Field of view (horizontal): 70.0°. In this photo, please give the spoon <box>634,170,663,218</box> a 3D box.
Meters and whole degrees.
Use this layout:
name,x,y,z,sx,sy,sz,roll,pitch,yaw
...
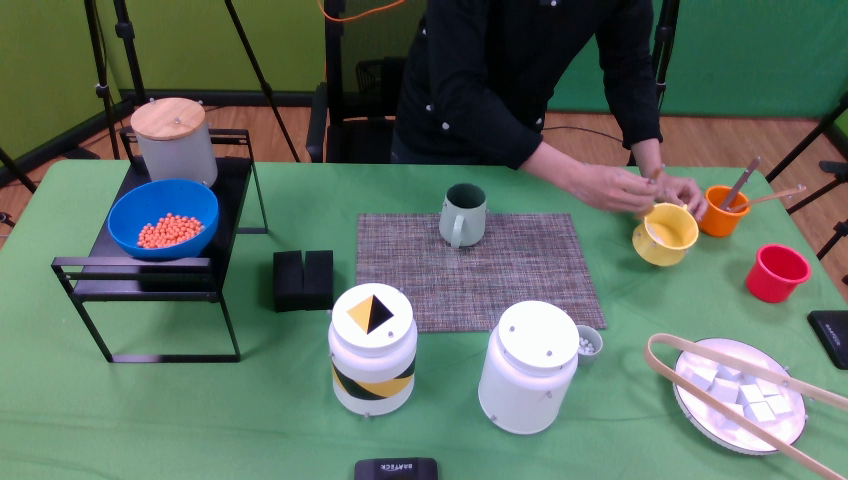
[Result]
name,x,y,z,sx,sy,sz,roll,pitch,yaw
spoon,0.384,-0.076,1.032,0.041,0.195,0.021,-24,65,4

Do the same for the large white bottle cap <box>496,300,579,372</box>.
name,x,y,z,sx,sy,sz,roll,pitch,yaw
large white bottle cap,0.160,0.133,0.852,0.115,0.018,0.114,3,46,-3

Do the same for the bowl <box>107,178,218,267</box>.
name,x,y,z,sx,sy,sz,roll,pitch,yaw
bowl,-0.374,-0.014,0.893,0.151,0.077,0.150,2,46,-2

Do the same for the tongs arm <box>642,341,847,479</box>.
name,x,y,z,sx,sy,sz,roll,pitch,yaw
tongs arm,0.504,0.278,0.918,0.386,0.028,0.028,34,59,22

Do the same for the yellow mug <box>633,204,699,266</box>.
name,x,y,z,sx,sy,sz,roll,pitch,yaw
yellow mug,0.463,-0.020,1.147,0.099,0.064,0.130,35,63,18

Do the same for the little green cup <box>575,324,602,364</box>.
name,x,y,z,sx,sy,sz,roll,pitch,yaw
little green cup,0.269,0.179,1.036,0.061,0.039,0.061,3,46,-3

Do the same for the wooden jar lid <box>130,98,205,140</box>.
name,x,y,z,sx,sy,sz,roll,pitch,yaw
wooden jar lid,-0.393,-0.183,0.934,0.108,0.021,0.107,2,43,-2

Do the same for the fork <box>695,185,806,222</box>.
name,x,y,z,sx,sy,sz,roll,pitch,yaw
fork,0.658,-0.074,1.230,0.207,0.019,0.028,-23,36,37

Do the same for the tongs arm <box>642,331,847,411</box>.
name,x,y,z,sx,sy,sz,roll,pitch,yaw
tongs arm,0.546,0.227,0.968,0.384,0.026,0.050,22,52,13

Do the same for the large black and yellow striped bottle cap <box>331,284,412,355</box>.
name,x,y,z,sx,sy,sz,roll,pitch,yaw
large black and yellow striped bottle cap,-0.073,0.110,0.857,0.115,0.019,0.114,2,46,-2

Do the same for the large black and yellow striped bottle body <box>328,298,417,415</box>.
name,x,y,z,sx,sy,sz,roll,pitch,yaw
large black and yellow striped bottle body,-0.078,0.167,0.920,0.131,0.185,0.130,2,46,-2

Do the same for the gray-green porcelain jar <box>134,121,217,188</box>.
name,x,y,z,sx,sy,sz,roll,pitch,yaw
gray-green porcelain jar,-0.397,-0.141,0.980,0.106,0.127,0.105,2,47,-2

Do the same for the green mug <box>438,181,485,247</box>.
name,x,y,z,sx,sy,sz,roll,pitch,yaw
green mug,0.071,-0.039,1.177,0.092,0.105,0.124,12,47,7

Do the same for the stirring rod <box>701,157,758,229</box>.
name,x,y,z,sx,sy,sz,roll,pitch,yaw
stirring rod,0.634,-0.097,1.257,0.014,0.006,0.176,38,97,29

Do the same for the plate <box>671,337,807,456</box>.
name,x,y,z,sx,sy,sz,roll,pitch,yaw
plate,0.504,0.254,0.984,0.208,0.039,0.206,2,46,-2

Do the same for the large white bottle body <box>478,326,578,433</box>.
name,x,y,z,sx,sy,sz,roll,pitch,yaw
large white bottle body,0.156,0.192,0.913,0.131,0.185,0.130,2,46,-2
